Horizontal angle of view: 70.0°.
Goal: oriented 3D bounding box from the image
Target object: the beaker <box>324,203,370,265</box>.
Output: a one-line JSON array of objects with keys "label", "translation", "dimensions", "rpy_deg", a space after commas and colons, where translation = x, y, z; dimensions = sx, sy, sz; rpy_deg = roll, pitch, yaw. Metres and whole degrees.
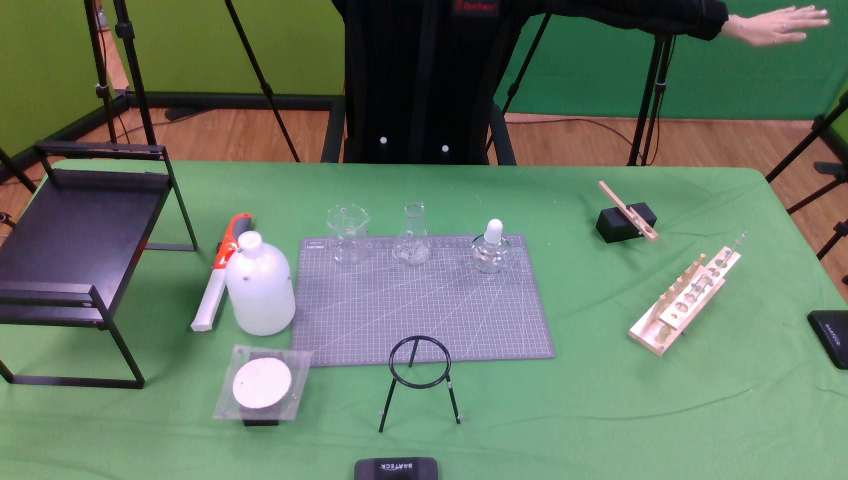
[{"label": "beaker", "translation": [-0.142, -0.009, 1.137], "dimensions": [0.084, 0.101, 0.073], "rpy_deg": [-3, 47, -7]}]

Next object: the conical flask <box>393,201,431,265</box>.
[{"label": "conical flask", "translation": [-0.021, -0.017, 1.137], "dimensions": [0.075, 0.122, 0.075], "rpy_deg": [2, 46, -2]}]

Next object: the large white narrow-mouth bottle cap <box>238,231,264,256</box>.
[{"label": "large white narrow-mouth bottle cap", "translation": [-0.266, 0.006, 0.932], "dimensions": [0.038, 0.024, 0.037], "rpy_deg": [2, 46, -2]}]

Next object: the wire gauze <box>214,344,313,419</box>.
[{"label": "wire gauze", "translation": [-0.241, 0.213, 0.915], "dimensions": [0.121, 0.011, 0.124], "rpy_deg": [5, 46, 1]}]

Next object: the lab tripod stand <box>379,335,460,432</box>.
[{"label": "lab tripod stand", "translation": [-0.011, 0.214, 0.911], "dimensions": [0.148, 0.132, 0.147], "rpy_deg": [1, 45, 0]}]

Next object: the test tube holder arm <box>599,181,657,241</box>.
[{"label": "test tube holder arm", "translation": [0.407, -0.062, 1.219], "dimensions": [0.013, 0.015, 0.177], "rpy_deg": [-23, 51, -13]}]

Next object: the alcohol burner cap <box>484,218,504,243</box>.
[{"label": "alcohol burner cap", "translation": [0.130, -0.021, 1.106], "dimensions": [0.034, 0.048, 0.033], "rpy_deg": [3, 52, -4]}]

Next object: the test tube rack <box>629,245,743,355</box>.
[{"label": "test tube rack", "translation": [0.474, 0.095, 1.091], "dimensions": [0.242, 0.085, 0.066], "rpy_deg": [-34, 56, -31]}]

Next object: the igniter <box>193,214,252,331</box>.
[{"label": "igniter", "translation": [-0.368, 0.050, 1.119], "dimensions": [0.057, 0.025, 0.275], "rpy_deg": [-3, 46, 7]}]

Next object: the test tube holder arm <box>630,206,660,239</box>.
[{"label": "test tube holder arm", "translation": [0.431, -0.035, 1.192], "dimensions": [0.010, 0.015, 0.087], "rpy_deg": [-23, 51, -12]}]

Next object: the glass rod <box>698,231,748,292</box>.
[{"label": "glass rod", "translation": [0.513, 0.044, 1.051], "dimensions": [0.008, 0.200, 0.008], "rpy_deg": [1, 55, -1]}]

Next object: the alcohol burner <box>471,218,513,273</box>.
[{"label": "alcohol burner", "translation": [0.128, 0.005, 1.132], "dimensions": [0.078, 0.120, 0.077], "rpy_deg": [0, 47, 0]}]

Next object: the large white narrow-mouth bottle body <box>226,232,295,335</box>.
[{"label": "large white narrow-mouth bottle body", "translation": [-0.270, 0.065, 0.995], "dimensions": [0.102, 0.195, 0.101], "rpy_deg": [2, 46, -2]}]

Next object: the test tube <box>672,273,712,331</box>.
[{"label": "test tube", "translation": [0.439, 0.106, 1.009], "dimensions": [0.017, 0.151, 0.017], "rpy_deg": [4, 48, -4]}]
